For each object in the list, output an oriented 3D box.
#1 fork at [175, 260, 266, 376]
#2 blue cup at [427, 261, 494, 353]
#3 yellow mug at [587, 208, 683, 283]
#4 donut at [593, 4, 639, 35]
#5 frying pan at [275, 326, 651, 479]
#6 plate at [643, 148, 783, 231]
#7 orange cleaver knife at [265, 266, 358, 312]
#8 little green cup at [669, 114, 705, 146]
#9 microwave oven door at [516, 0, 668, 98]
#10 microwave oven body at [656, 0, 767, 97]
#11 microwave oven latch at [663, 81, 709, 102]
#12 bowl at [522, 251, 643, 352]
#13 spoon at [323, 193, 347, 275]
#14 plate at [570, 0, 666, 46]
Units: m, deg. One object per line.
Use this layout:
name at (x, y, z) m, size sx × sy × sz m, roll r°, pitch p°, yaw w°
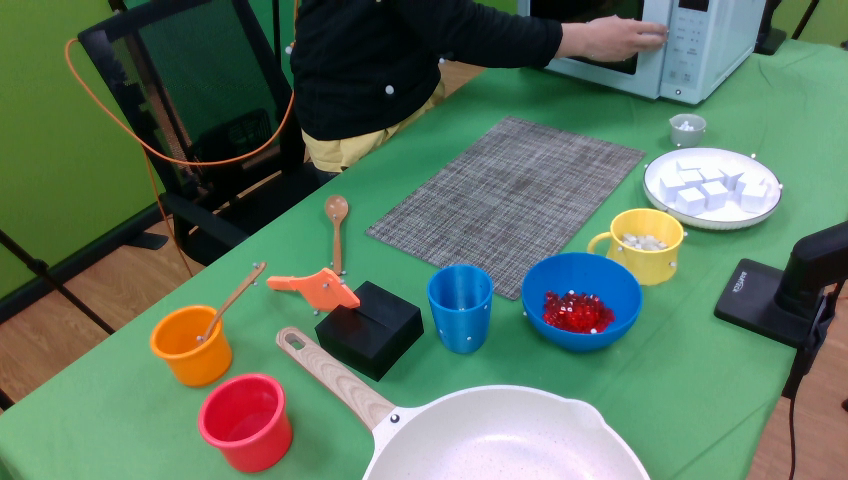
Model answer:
fork at (-0.268, 0.103, 0.792) m, size 0.207 × 0.019 × 0.028 m, roll -51°, pitch 41°, yaw 16°
blue cup at (0.050, 0.095, 0.791) m, size 0.092 × 0.100 × 0.092 m, roll -3°, pitch 42°, yaw 3°
yellow mug at (0.305, 0.009, 0.884) m, size 0.131 × 0.064 × 0.099 m, roll -4°, pitch 41°, yaw 5°
donut at (0.428, -0.493, 1.352) m, size 0.099 × 0.048 × 0.098 m, roll -7°, pitch 42°, yaw 7°
frying pan at (0.003, 0.229, 0.641) m, size 0.484 × 0.103 × 0.308 m, roll 34°, pitch 54°, yaw 28°
plate at (0.464, -0.080, 0.986) m, size 0.207 × 0.039 × 0.206 m, roll -4°, pitch 41°, yaw 4°
orange cleaver knife at (-0.164, 0.073, 0.864) m, size 0.210 × 0.077 × 0.012 m, roll -6°, pitch 31°, yaw 50°
little green cup at (0.485, -0.203, 1.123) m, size 0.061 × 0.039 × 0.061 m, roll -5°, pitch 40°, yaw 5°
microwave oven door at (0.338, -0.453, 1.252) m, size 0.353 × 0.245 × 0.039 m, roll 29°, pitch 53°, yaw 35°
microwave oven body at (0.473, -0.516, 1.313) m, size 0.438 × 0.261 × 0.327 m, roll 26°, pitch 51°, yaw 34°
microwave oven latch at (0.519, -0.299, 1.202) m, size 0.078 × 0.029 × 0.030 m, roll 30°, pitch 54°, yaw 36°
bowl at (0.204, 0.093, 0.792) m, size 0.151 × 0.077 × 0.150 m, roll -4°, pitch 40°, yaw 4°
spoon at (-0.148, -0.014, 1.008) m, size 0.042 × 0.021 × 0.192 m, roll 4°, pitch 39°, yaw -12°
plate at (0.436, -0.487, 1.368) m, size 0.209 × 0.038 × 0.208 m, roll -4°, pitch 40°, yaw 4°
